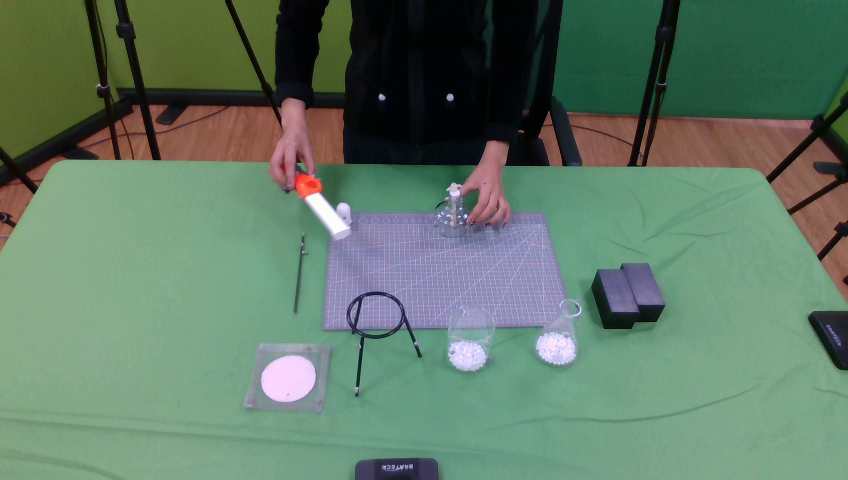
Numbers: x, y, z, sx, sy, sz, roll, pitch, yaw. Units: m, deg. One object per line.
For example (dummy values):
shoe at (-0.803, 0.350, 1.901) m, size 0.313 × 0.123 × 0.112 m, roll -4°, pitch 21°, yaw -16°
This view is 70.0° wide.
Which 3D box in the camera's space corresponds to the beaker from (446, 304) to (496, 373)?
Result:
beaker at (0.072, 0.166, 0.992) m, size 0.084 × 0.101 × 0.073 m, roll -21°, pitch 51°, yaw -22°

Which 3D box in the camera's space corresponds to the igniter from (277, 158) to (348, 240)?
igniter at (-0.219, -0.085, 1.152) m, size 0.057 × 0.025 × 0.274 m, roll -21°, pitch 45°, yaw -24°

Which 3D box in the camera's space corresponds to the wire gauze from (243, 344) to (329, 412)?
wire gauze at (-0.221, 0.219, 0.981) m, size 0.125 × 0.011 × 0.120 m, roll 2°, pitch 45°, yaw 0°

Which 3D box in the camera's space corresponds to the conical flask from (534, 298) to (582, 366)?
conical flask at (0.229, 0.149, 1.005) m, size 0.075 × 0.122 × 0.075 m, roll 2°, pitch 46°, yaw -2°

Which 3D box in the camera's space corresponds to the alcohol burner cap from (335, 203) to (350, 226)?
alcohol burner cap at (-0.166, -0.053, 1.220) m, size 0.034 × 0.048 × 0.033 m, roll 2°, pitch 46°, yaw -2°

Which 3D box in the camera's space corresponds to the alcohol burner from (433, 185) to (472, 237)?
alcohol burner at (0.057, -0.062, 1.198) m, size 0.078 × 0.120 × 0.077 m, roll 1°, pitch 48°, yaw -1°

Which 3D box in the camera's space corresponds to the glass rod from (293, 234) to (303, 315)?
glass rod at (-0.235, 0.060, 1.133) m, size 0.008 × 0.008 × 0.198 m, roll -1°, pitch 46°, yaw -5°

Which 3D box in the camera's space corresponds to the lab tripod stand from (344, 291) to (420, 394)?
lab tripod stand at (-0.075, 0.155, 0.967) m, size 0.148 × 0.132 × 0.147 m, roll 3°, pitch 44°, yaw -3°
